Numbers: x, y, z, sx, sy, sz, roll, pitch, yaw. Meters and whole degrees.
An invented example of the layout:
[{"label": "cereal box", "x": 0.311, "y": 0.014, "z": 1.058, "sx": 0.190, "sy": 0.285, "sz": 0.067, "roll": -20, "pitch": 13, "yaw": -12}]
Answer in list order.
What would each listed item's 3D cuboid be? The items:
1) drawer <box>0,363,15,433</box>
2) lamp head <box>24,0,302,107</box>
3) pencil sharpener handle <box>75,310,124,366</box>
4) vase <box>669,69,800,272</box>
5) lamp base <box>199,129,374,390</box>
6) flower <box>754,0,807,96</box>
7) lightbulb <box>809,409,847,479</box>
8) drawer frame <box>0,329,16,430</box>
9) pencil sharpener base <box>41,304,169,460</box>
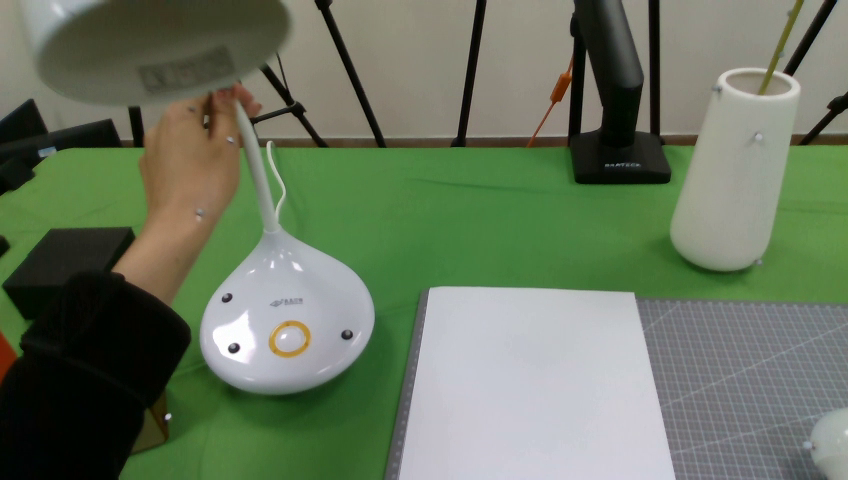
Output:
[{"label": "drawer", "x": -0.456, "y": 0.175, "z": 0.477, "sx": 0.195, "sy": 0.074, "sz": 0.209, "roll": -16, "pitch": 38, "yaw": -14}, {"label": "lamp head", "x": -0.127, "y": -0.135, "z": 0.276, "sx": 0.112, "sy": 0.112, "sz": 0.122, "roll": -19, "pitch": 82, "yaw": -17}, {"label": "pencil sharpener handle", "x": -0.282, "y": 0.081, "z": 0.537, "sx": 0.036, "sy": 0.068, "sz": 0.030, "roll": -12, "pitch": 38, "yaw": -18}, {"label": "vase", "x": 0.310, "y": -0.065, "z": 0.610, "sx": 0.098, "sy": 0.202, "sz": 0.097, "roll": -4, "pitch": 37, "yaw": 3}, {"label": "lamp base", "x": -0.134, "y": 0.009, "z": 0.526, "sx": 0.161, "sy": 0.182, "sz": 0.177, "roll": -15, "pitch": 43, "yaw": -14}, {"label": "flower", "x": 0.295, "y": -0.117, "z": 0.543, "sx": 0.038, "sy": 0.365, "sz": 0.043, "roll": -37, "pitch": 60, "yaw": -17}, {"label": "lightbulb", "x": 0.308, "y": 0.172, "z": 0.422, "sx": 0.059, "sy": 0.060, "sz": 0.107, "roll": 4, "pitch": 54, "yaw": 12}, {"label": "drawer frame", "x": -0.459, "y": 0.172, "z": 0.478, "sx": 0.202, "sy": 0.083, "sz": 0.211, "roll": -17, "pitch": 39, "yaw": -14}, {"label": "pencil sharpener base", "x": -0.262, "y": 0.118, "z": 0.507, "sx": 0.061, "sy": 0.108, "sz": 0.076, "roll": -17, "pitch": 39, "yaw": -14}]
